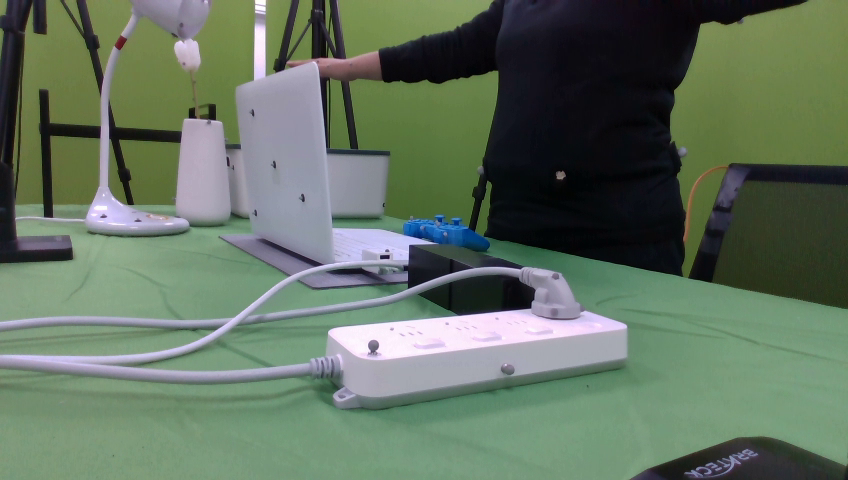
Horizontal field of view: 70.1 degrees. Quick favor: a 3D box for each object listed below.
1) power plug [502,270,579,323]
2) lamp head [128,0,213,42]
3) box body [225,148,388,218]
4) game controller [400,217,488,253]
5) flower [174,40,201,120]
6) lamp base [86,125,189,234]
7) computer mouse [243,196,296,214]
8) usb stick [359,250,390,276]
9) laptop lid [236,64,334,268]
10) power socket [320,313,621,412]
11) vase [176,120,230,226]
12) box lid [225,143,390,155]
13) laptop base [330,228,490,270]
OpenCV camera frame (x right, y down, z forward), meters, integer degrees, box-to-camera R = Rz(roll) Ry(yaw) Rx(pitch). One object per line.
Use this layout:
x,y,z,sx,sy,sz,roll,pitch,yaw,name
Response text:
0.090,0.051,0.469,0.035,0.052,0.072,0,5,-19,power plug
-0.423,-0.394,0.980,0.123,0.112,0.112,20,7,-3,lamp head
-0.298,-0.143,1.474,0.366,0.160,0.253,-1,9,-30,box body
0.029,-0.011,1.027,0.097,0.051,0.154,-3,9,-34,game controller
-0.430,-0.211,1.165,0.044,0.361,0.038,-10,-5,-24,flower
-0.497,-0.105,1.027,0.179,0.180,0.160,1,7,3,lamp base
-0.362,-0.082,1.416,0.117,0.041,0.063,-3,10,5,computer mouse
-0.062,0.026,0.709,0.021,0.027,0.059,-2,3,-29,usb stick
-0.202,-0.103,0.828,0.013,0.241,0.355,-9,14,-30,laptop lid
0.038,0.075,0.410,0.228,0.032,0.072,-2,8,-29,power socket
-0.424,-0.128,1.159,0.098,0.200,0.098,2,9,0,vase
-0.296,-0.217,1.463,0.373,0.015,0.262,-2,8,-29,box lid
-0.095,0.011,0.912,0.237,0.023,0.352,2,6,-32,laptop base
